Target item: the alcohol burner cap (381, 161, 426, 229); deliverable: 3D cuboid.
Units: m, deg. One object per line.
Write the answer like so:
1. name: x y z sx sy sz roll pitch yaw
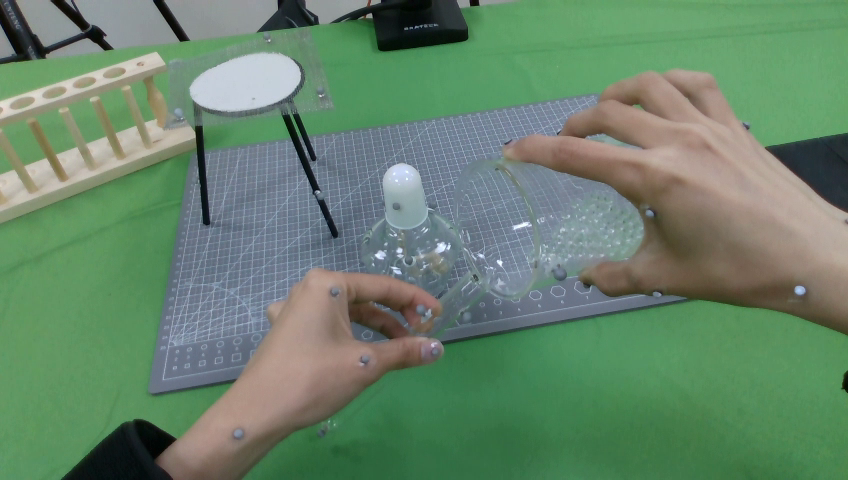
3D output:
1. alcohol burner cap: -0.017 -0.035 0.434 0.034 0.048 0.033 -3 46 4

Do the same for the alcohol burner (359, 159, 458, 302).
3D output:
1. alcohol burner: -0.013 -0.010 0.460 0.078 0.120 0.077 -2 43 3

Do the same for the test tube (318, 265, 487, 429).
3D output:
1. test tube: -0.017 0.069 0.368 0.150 0.017 0.017 -46 43 21

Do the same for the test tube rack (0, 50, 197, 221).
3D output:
1. test tube rack: -0.363 -0.101 0.604 0.242 0.086 0.066 -27 49 -21

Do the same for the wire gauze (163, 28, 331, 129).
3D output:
1. wire gauze: -0.144 -0.129 0.481 0.125 0.011 0.120 -14 46 -8

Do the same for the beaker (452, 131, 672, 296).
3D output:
1. beaker: 0.076 -0.016 0.332 0.100 0.084 0.073 -16 53 -26

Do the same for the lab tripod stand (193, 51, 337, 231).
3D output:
1. lab tripod stand: -0.139 -0.082 0.529 0.148 0.133 0.147 -3 47 3
